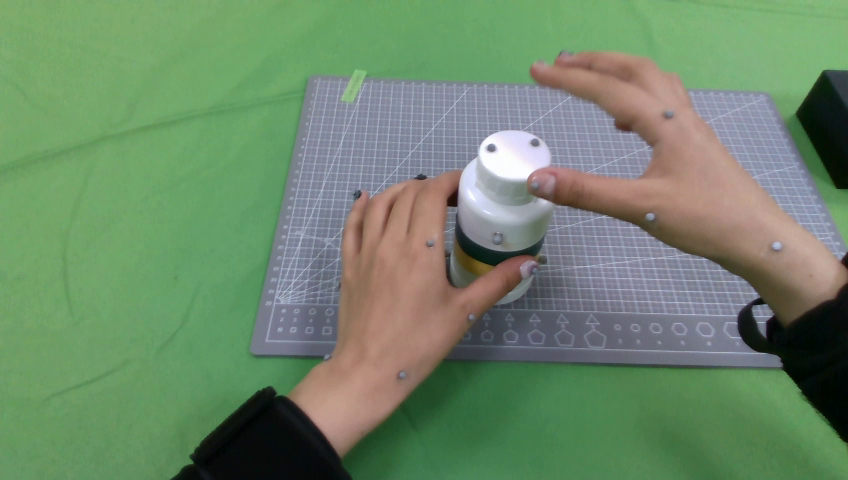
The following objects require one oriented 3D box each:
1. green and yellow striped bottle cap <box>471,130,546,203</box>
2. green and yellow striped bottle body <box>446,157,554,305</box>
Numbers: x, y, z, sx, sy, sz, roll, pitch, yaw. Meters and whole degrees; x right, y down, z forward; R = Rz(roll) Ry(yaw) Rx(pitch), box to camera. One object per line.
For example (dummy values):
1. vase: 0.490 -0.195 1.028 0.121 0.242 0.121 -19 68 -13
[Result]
1. green and yellow striped bottle cap: 0.051 -0.045 0.364 0.045 0.020 0.045 1 56 -2
2. green and yellow striped bottle body: 0.049 -0.013 0.406 0.063 0.120 0.062 1 53 -1
